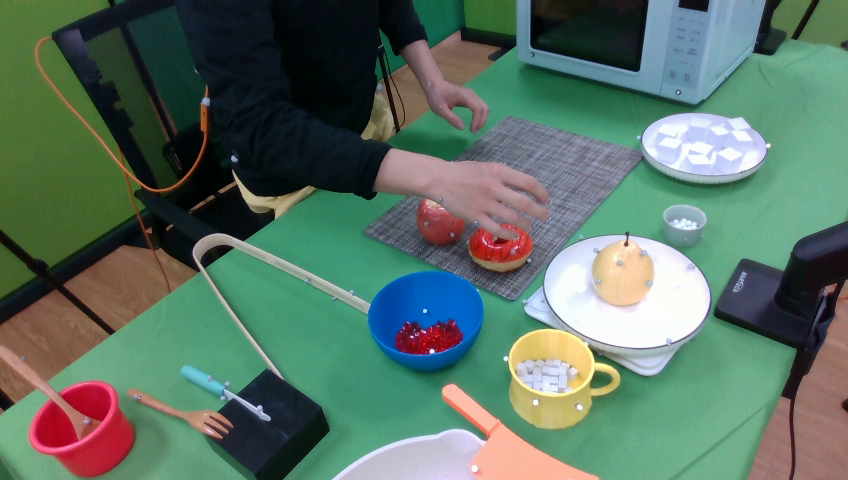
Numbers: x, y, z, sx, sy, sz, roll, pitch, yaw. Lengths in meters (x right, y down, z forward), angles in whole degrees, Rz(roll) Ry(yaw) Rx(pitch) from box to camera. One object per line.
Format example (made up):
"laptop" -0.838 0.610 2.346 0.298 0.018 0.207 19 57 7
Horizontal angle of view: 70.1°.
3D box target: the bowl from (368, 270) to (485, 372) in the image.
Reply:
"bowl" 0.007 0.119 0.791 0.151 0.077 0.150 -5 40 4

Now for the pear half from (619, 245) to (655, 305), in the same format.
"pear half" 0.275 0.047 0.766 0.031 0.088 0.070 20 46 30

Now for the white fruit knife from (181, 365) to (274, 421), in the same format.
"white fruit knife" -0.246 0.188 0.747 0.205 0.027 0.016 9 41 41

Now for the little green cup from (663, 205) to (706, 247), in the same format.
"little green cup" 0.396 -0.020 0.926 0.061 0.039 0.061 -4 40 4

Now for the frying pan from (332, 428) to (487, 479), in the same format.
"frying pan" -0.089 0.306 0.564 0.487 0.103 0.306 9 41 7

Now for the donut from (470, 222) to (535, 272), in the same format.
"donut" 0.119 0.009 0.923 0.099 0.048 0.098 -4 38 4

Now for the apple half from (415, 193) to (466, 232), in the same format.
"apple half" 0.027 -0.042 0.974 0.081 0.075 0.053 -5 37 7

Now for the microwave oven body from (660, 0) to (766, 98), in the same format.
"microwave oven body" 0.472 -0.513 1.317 0.438 0.261 0.327 26 51 34

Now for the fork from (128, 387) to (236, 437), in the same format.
"fork" -0.305 0.208 0.744 0.206 0.019 0.028 3 41 36

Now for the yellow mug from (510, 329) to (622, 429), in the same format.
"yellow mug" 0.168 0.164 0.721 0.130 0.064 0.099 0 40 8

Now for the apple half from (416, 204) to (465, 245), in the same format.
"apple half" 0.027 -0.017 0.943 0.081 0.081 0.032 -4 37 4

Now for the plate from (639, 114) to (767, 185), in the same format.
"plate" 0.489 -0.157 1.074 0.207 0.039 0.206 -4 40 4

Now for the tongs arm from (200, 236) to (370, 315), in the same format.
"tongs arm" -0.209 0.062 0.924 0.381 0.027 0.051 23 55 32

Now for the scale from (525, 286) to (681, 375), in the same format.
"scale" 0.254 0.091 0.821 0.199 0.032 0.149 27 51 35

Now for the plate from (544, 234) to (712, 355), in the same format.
"plate" 0.262 0.072 0.792 0.209 0.038 0.208 -4 41 4

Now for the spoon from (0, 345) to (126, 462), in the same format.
"spoon" -0.434 0.192 0.720 0.194 0.021 0.042 47 53 -7

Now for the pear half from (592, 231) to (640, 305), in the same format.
"pear half" 0.247 0.027 0.778 0.055 0.110 0.076 21 45 30

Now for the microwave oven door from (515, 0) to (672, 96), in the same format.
"microwave oven door" 0.343 -0.455 1.259 0.353 0.245 0.039 26 51 33

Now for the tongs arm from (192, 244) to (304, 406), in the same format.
"tongs arm" -0.268 0.112 0.885 0.028 0.028 0.384 -37 47 -17

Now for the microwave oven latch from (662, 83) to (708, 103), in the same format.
"microwave oven latch" 0.517 -0.296 1.204 0.078 0.029 0.030 27 52 35

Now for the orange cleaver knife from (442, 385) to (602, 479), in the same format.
"orange cleaver knife" 0.085 0.219 0.612 0.209 0.012 0.077 28 49 35
